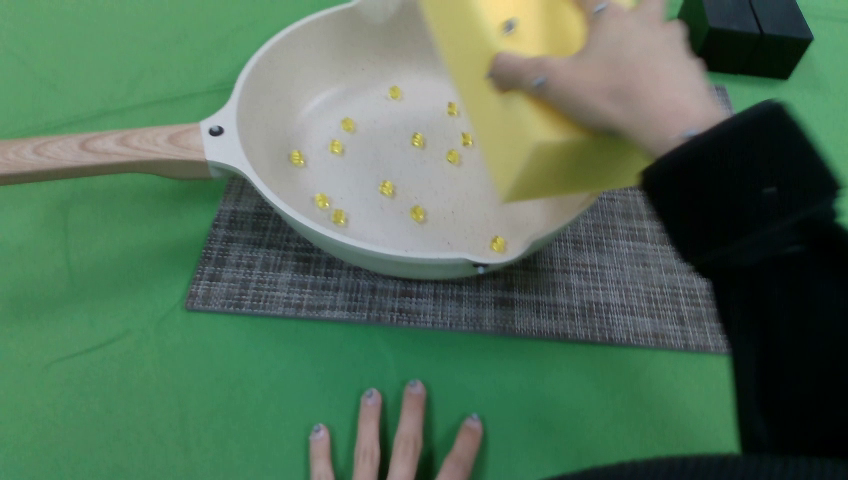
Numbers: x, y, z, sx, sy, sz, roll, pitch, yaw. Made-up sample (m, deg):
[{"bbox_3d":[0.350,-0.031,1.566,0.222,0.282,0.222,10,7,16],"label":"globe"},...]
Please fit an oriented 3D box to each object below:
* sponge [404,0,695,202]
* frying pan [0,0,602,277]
[{"bbox_3d":[0.071,-0.132,0.410,0.118,0.061,0.205,-11,62,-19],"label":"sponge"},{"bbox_3d":[-0.097,-0.076,0.449,0.490,0.103,0.303,-7,52,-20],"label":"frying pan"}]
